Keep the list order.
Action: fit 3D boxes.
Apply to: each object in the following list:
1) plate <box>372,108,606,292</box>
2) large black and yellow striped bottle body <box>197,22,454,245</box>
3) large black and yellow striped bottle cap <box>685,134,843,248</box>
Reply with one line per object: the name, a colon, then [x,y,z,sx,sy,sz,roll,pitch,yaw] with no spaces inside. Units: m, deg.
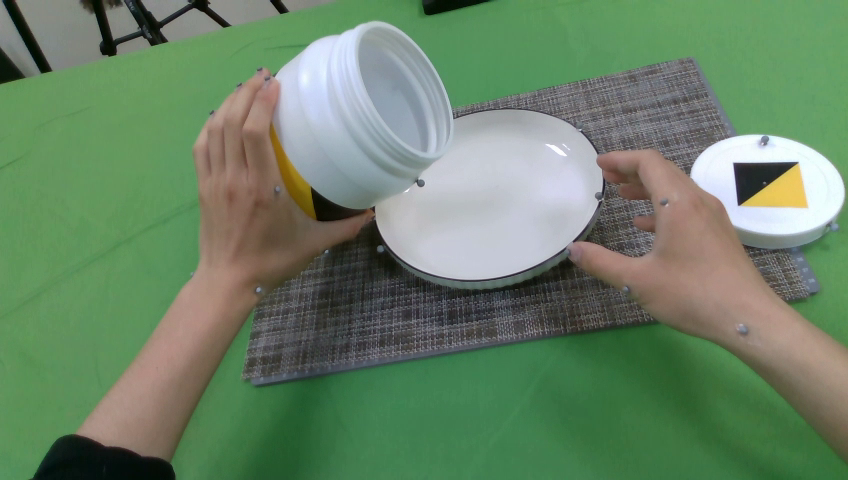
plate: [0.057,-0.037,0.547,0.207,0.039,0.205,-8,50,11]
large black and yellow striped bottle body: [-0.080,-0.082,0.494,0.183,0.132,0.129,-22,43,35]
large black and yellow striped bottle cap: [0.277,-0.043,0.497,0.115,0.019,0.114,-6,52,8]
